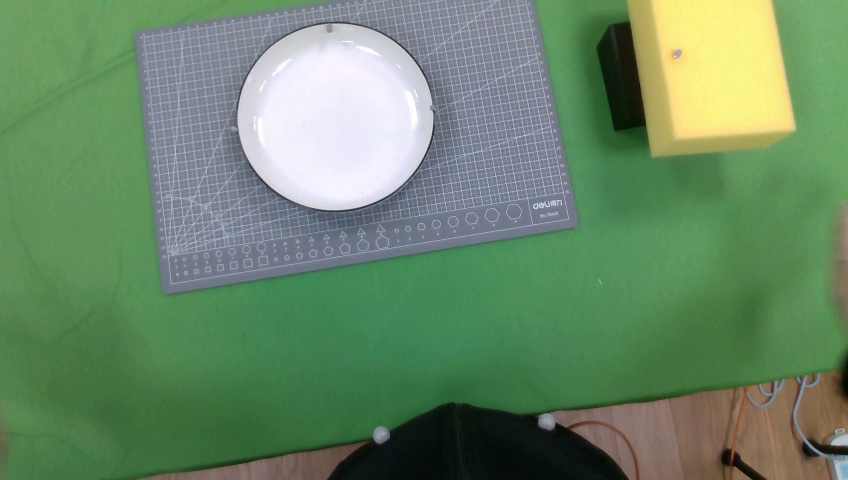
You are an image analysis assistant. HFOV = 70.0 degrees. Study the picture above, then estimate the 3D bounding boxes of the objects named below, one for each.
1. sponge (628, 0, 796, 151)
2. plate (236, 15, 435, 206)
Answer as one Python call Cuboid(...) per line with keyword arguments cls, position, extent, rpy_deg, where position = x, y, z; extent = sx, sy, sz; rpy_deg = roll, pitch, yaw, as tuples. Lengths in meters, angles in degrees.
Cuboid(cls="sponge", position=(0.279, -0.200, 0.604), extent=(0.118, 0.061, 0.206), rpy_deg=(-6, 83, -1))
Cuboid(cls="plate", position=(-0.092, -0.135, 0.650), extent=(0.209, 0.038, 0.208), rpy_deg=(0, 83, -1))
